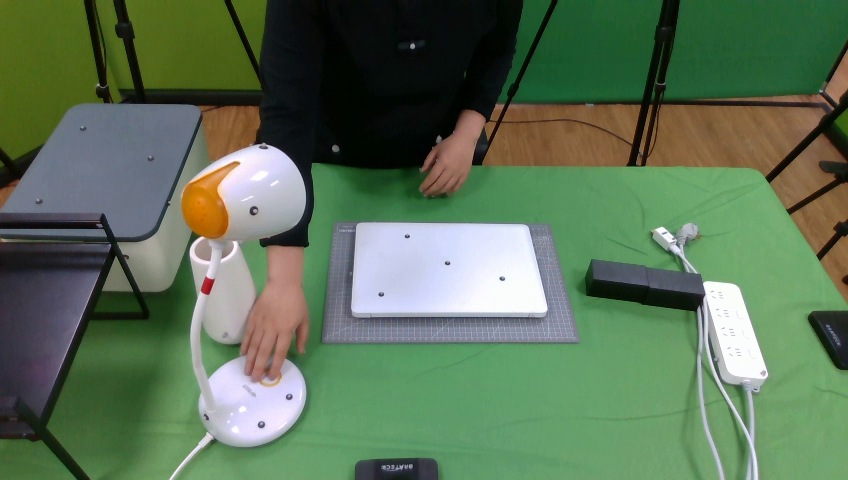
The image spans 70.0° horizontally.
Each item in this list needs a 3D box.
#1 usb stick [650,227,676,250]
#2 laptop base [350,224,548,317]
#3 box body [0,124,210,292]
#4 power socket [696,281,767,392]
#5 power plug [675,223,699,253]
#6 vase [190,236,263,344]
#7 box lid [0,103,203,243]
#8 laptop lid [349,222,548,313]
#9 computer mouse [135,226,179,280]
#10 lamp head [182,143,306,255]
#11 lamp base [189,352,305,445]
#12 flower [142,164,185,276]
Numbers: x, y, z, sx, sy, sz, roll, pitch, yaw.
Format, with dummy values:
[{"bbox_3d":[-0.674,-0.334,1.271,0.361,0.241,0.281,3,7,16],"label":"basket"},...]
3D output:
[{"bbox_3d":[0.485,-0.007,1.238,0.021,0.027,0.059,-18,42,-15],"label":"usb stick"},{"bbox_3d":[0.042,0.055,1.147,0.355,0.023,0.234,1,42,-4],"label":"laptop base"},{"bbox_3d":[-0.568,-0.081,1.133,0.254,0.161,0.361,2,46,-3],"label":"box body"},{"bbox_3d":[0.543,0.161,1.077,0.072,0.033,0.225,5,46,3],"label":"power socket"},{"bbox_3d":[0.537,0.000,1.241,0.053,0.035,0.072,20,76,-19],"label":"power plug"},{"bbox_3d":[-0.317,0.081,0.971,0.098,0.201,0.097,3,47,-3],"label":"vase"},{"bbox_3d":[-0.563,-0.132,1.078,0.263,0.015,0.369,1,46,-3],"label":"box lid"},{"bbox_3d":[0.042,0.046,1.142,0.357,0.013,0.240,2,44,-3],"label":"laptop lid"},{"bbox_3d":[-0.492,0.020,1.118,0.063,0.041,0.116,1,54,-10],"label":"computer mouse"},{"bbox_3d":[-0.215,-0.043,0.697,0.112,0.113,0.123,23,31,17],"label":"lamp head"},{"bbox_3d":[-0.268,0.197,0.876,0.160,0.181,0.179,26,52,20],"label":"lamp base"},{"bbox_3d":[-0.492,-0.055,1.173,0.044,0.038,0.359,-40,34,19],"label":"flower"}]
